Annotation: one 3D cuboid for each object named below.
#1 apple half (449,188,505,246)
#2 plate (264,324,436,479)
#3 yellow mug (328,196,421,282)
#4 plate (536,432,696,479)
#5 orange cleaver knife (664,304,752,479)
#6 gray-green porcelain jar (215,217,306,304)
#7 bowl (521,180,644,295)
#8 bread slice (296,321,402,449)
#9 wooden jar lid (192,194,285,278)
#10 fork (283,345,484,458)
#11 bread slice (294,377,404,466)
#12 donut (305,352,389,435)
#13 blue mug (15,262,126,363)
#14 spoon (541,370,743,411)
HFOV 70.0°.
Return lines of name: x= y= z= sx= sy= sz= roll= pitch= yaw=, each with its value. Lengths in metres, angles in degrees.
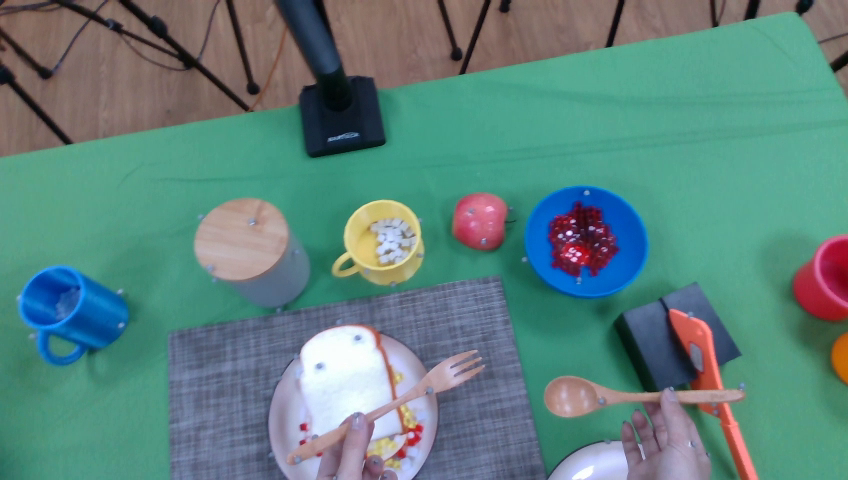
apple half: x=0.072 y=-0.037 z=0.822 sx=0.074 sy=0.054 sz=0.080 roll=11 pitch=70 yaw=10
plate: x=-0.088 y=0.207 z=0.741 sx=0.207 sy=0.039 sz=0.206 roll=-1 pitch=69 yaw=3
yellow mug: x=-0.070 y=0.007 z=0.806 sx=0.131 sy=0.064 sz=0.099 roll=-31 pitch=70 yaw=-8
plate: x=0.218 y=0.325 z=0.681 sx=0.209 sy=0.038 sz=0.207 roll=-1 pitch=69 yaw=3
orange cleaver knife: x=0.329 y=0.175 z=0.709 sx=0.012 sy=0.077 sz=0.211 roll=-19 pitch=91 yaw=-11
gray-green porcelain jar: x=-0.212 y=0.020 z=0.777 sx=0.106 sy=0.127 sz=0.105 roll=-1 pitch=68 yaw=3
bowl: x=0.198 y=0.007 z=0.784 sx=0.151 sy=0.077 sz=0.150 roll=-1 pitch=69 yaw=3
bread slice: x=-0.090 y=0.156 z=0.665 sx=0.105 sy=0.019 sz=0.131 roll=-15 pitch=82 yaw=4
wooden jar lid: x=-0.217 y=-0.003 z=0.717 sx=0.108 sy=0.021 sz=0.107 roll=0 pitch=66 yaw=1
fork: x=-0.034 y=0.152 z=0.573 sx=0.208 sy=0.018 sz=0.028 roll=-23 pitch=90 yaw=-21
bread slice: x=-0.083 y=0.204 z=0.741 sx=0.107 sy=0.018 sz=0.133 roll=-27 pitch=72 yaw=-6
donut: x=-0.091 y=0.182 z=0.720 sx=0.099 sy=0.048 sz=0.098 roll=-1 pitch=69 yaw=3
blue mug: x=-0.452 y=0.099 z=0.771 sx=0.082 sy=0.106 sz=0.116 roll=9 pitch=70 yaw=7
spoon: x=0.216 y=0.151 z=0.606 sx=0.193 sy=0.022 sz=0.041 roll=-3 pitch=80 yaw=13
